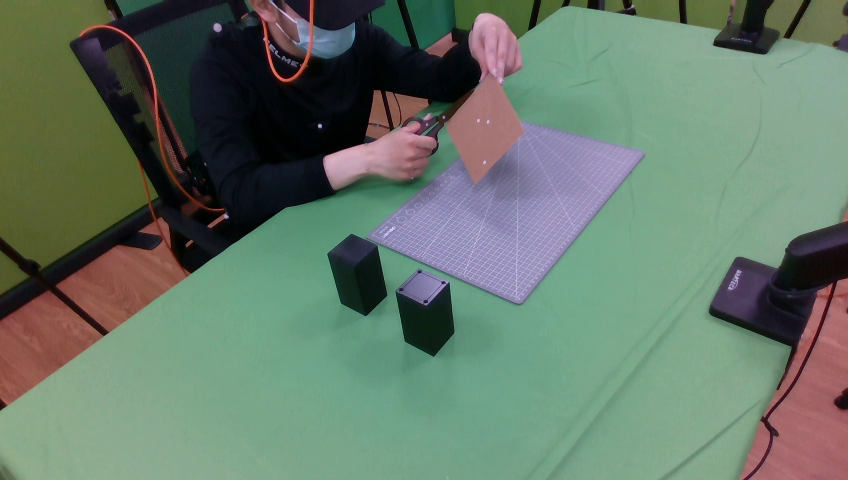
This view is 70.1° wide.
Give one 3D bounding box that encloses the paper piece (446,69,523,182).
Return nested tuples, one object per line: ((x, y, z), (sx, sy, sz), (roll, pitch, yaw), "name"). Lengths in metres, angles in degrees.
((0.096, -0.187, 0.997), (0.004, 0.135, 0.135), (0, 57, -38), "paper piece")

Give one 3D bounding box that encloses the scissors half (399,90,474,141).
((0.020, -0.221, 1.062), (0.174, 0.040, 0.013), (-22, 30, 36), "scissors half")

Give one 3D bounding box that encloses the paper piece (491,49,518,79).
((0.108, -0.275, 1.086), (0.008, 0.135, 0.138), (43, 42, -1), "paper piece")

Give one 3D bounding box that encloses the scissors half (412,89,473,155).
((0.034, -0.207, 1.067), (0.040, 0.174, 0.013), (37, 43, -7), "scissors half")
